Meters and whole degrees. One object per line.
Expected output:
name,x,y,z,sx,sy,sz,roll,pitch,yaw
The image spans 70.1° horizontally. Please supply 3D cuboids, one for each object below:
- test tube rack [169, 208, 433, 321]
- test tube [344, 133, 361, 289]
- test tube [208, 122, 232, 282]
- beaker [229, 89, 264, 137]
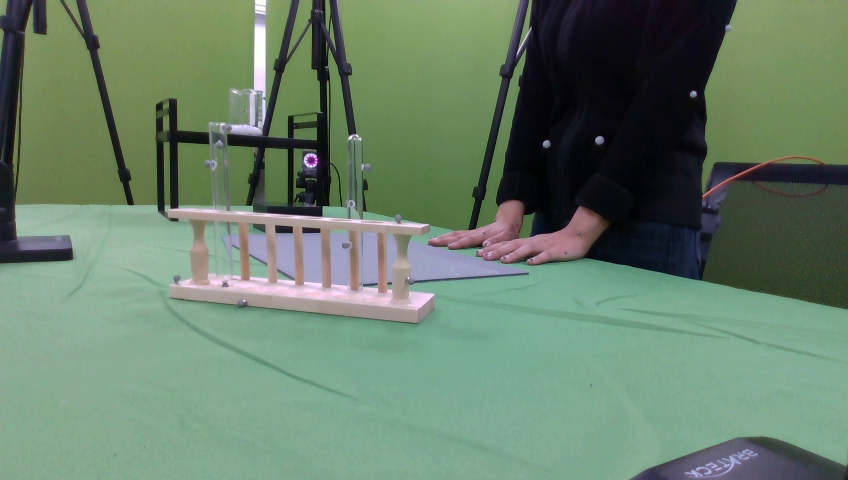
test tube rack,-0.115,0.018,0.574,0.242,0.085,0.067,4,8,13
test tube,-0.068,-0.025,0.575,0.017,0.150,0.017,1,11,0
test tube,-0.191,-0.034,0.565,0.017,0.150,0.017,1,11,0
beaker,-0.391,-0.277,1.329,0.074,0.100,0.084,2,8,-1
